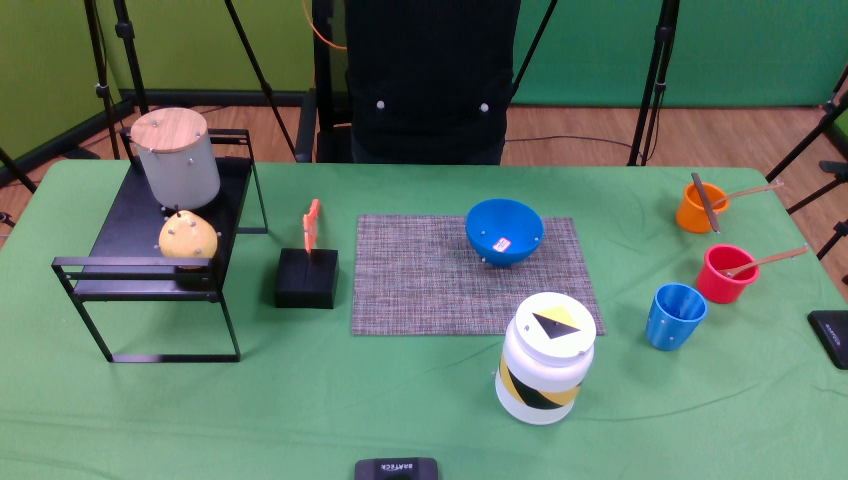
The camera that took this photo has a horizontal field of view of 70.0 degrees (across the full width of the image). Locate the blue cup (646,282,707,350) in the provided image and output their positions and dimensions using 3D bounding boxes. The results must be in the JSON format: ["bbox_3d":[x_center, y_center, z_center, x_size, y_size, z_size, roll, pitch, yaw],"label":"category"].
[{"bbox_3d":[0.425,0.136,1.042,0.092,0.101,0.092,1,44,-1],"label":"blue cup"}]

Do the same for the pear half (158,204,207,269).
[{"bbox_3d":[-0.352,-0.015,0.873,0.056,0.110,0.076,25,45,19],"label":"pear half"}]

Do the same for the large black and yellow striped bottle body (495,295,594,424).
[{"bbox_3d":[0.183,0.182,0.923,0.131,0.185,0.130,2,46,-2],"label":"large black and yellow striped bottle body"}]

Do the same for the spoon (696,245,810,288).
[{"bbox_3d":[0.601,0.047,1.114,0.193,0.022,0.041,-27,36,33],"label":"spoon"}]

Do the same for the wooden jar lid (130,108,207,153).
[{"bbox_3d":[-0.384,-0.162,0.914,0.108,0.021,0.107,4,46,-4],"label":"wooden jar lid"}]

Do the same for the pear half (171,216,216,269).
[{"bbox_3d":[-0.323,0.007,0.867,0.031,0.088,0.070,25,46,20],"label":"pear half"}]

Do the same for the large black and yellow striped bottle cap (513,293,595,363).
[{"bbox_3d":[0.186,0.123,0.863,0.115,0.019,0.114,3,45,-3],"label":"large black and yellow striped bottle cap"}]

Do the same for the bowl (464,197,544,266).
[{"bbox_3d":[0.149,-0.004,1.167,0.151,0.077,0.150,2,46,-2],"label":"bowl"}]

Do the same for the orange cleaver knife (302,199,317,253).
[{"bbox_3d":[-0.219,-0.031,1.168,0.012,0.077,0.210,-5,17,-3],"label":"orange cleaver knife"}]

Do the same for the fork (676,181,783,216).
[{"bbox_3d":[0.618,-0.084,1.235,0.019,0.207,0.028,54,40,-16],"label":"fork"}]

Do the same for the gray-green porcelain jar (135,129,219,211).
[{"bbox_3d":[-0.386,-0.118,0.959,0.106,0.127,0.105,2,46,-2],"label":"gray-green porcelain jar"}]

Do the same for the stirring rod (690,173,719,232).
[{"bbox_3d":[0.566,-0.080,1.225,0.014,0.006,0.175,2,46,2],"label":"stirring rod"}]
